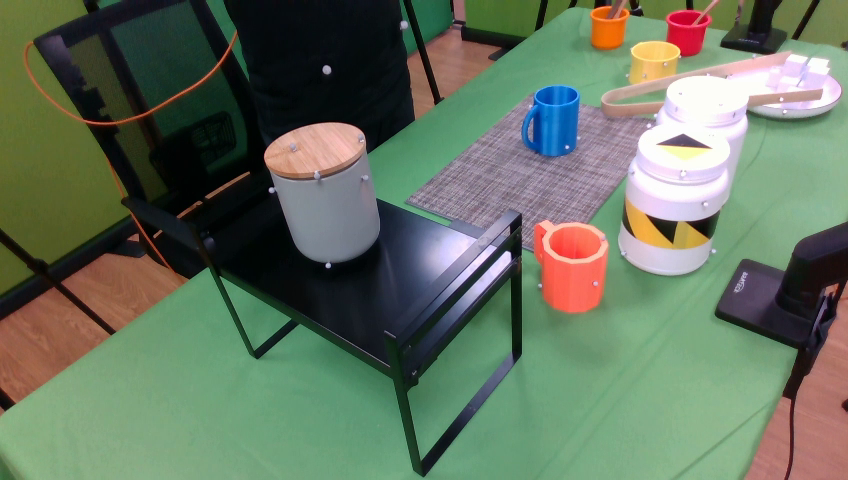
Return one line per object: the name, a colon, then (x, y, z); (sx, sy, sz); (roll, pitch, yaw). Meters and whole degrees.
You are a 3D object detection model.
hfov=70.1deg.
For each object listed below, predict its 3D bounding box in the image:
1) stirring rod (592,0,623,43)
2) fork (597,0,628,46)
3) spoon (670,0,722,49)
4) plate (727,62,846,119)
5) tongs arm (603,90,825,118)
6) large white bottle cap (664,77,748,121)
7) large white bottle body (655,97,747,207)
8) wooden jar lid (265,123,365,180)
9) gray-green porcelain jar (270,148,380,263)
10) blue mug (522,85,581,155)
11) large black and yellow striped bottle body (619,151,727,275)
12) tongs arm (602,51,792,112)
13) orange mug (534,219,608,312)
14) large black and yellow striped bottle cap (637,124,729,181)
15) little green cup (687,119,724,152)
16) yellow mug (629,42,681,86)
stirring rod: (0.460, -0.557, 1.461); (0.014, 0.176, 0.006); (35, 11, 23)
fork: (0.479, -0.558, 1.455); (0.028, 0.019, 0.207); (35, 100, 38)
spoon: (0.639, -0.510, 1.380); (0.193, 0.022, 0.041); (-49, 40, 19)
plate: (0.709, -0.292, 1.197); (0.207, 0.039, 0.206); (-4, 40, 4)
tongs arm: (0.546, -0.262, 1.163); (0.386, 0.028, 0.028); (-1, 49, 18)
large white bottle cap: (0.421, -0.212, 0.905); (0.115, 0.018, 0.114); (-4, 40, 4)
large white bottle body: (0.431, -0.148, 0.959); (0.130, 0.185, 0.130); (-4, 41, 4)
wooden jar lid: (-0.115, -0.092, 0.651); (0.108, 0.021, 0.108); (-4, 38, 4)
gray-green porcelain jar: (-0.109, -0.045, 0.692); (0.106, 0.127, 0.105); (-4, 40, 4)
blue mug: (0.233, -0.218, 1.127); (0.117, 0.106, 0.081); (-23, 43, -16)
large black and yellow striped bottle body: (0.354, -0.056, 0.865); (0.131, 0.185, 0.130); (-4, 41, 4)
tongs arm: (0.552, -0.320, 1.224); (0.384, 0.027, 0.050); (-10, 43, 7)
orange mug: (0.200, 0.027, 0.858); (0.084, 0.101, 0.125); (-24, 47, -18)
large black and yellow striped bottle cap: (0.346, -0.119, 0.810); (0.115, 0.019, 0.114); (-5, 41, 5)
little green cup: (0.514, -0.191, 1.109); (0.061, 0.039, 0.061); (-5, 40, 5)
yellow mug: (0.495, -0.389, 1.321); (0.100, 0.064, 0.130); (-14, 40, -6)
